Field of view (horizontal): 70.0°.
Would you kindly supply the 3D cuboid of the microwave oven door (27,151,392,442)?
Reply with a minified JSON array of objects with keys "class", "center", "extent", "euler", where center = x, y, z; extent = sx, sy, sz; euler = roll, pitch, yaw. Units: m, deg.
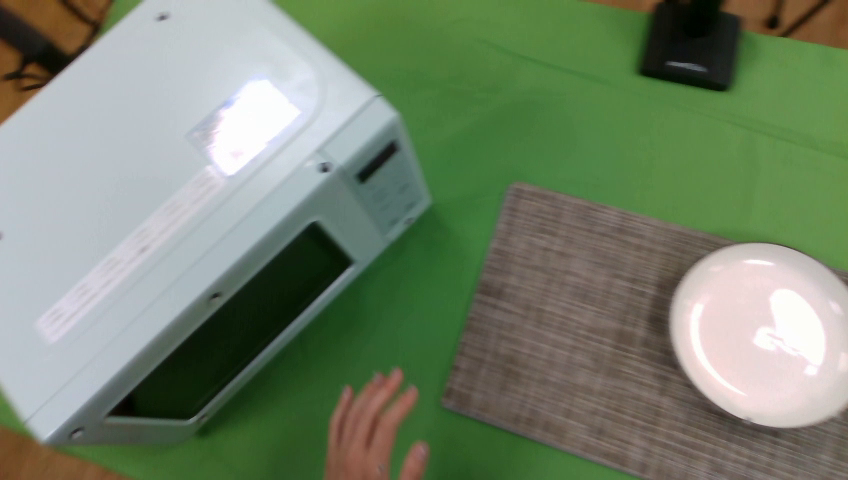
[{"class":"microwave oven door","center":[-0.195,0.077,0.649],"extent":[0.355,0.245,0.039],"euler":[-44,72,-6]}]

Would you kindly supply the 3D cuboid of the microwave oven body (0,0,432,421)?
[{"class":"microwave oven body","center":[-0.264,-0.047,0.701],"extent":[0.441,0.262,0.324],"euler":[-44,73,-6]}]

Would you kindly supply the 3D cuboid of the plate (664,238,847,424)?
[{"class":"plate","center":[0.378,0.101,0.684],"extent":[0.207,0.039,0.206],"euler":[-2,73,7]}]

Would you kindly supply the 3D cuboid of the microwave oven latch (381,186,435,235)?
[{"class":"microwave oven latch","center":[-0.022,-0.044,0.768],"extent":[0.079,0.030,0.030],"euler":[-42,73,-5]}]
